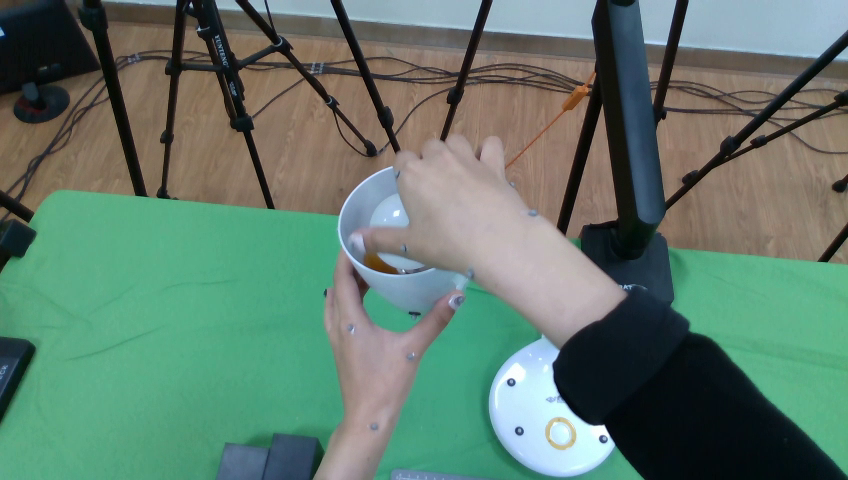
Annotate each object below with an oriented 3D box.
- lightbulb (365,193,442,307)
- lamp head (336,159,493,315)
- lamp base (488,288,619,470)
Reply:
[{"bbox_3d":[-0.014,0.013,0.478,0.059,0.108,0.059,-3,40,3],"label":"lightbulb"},{"bbox_3d":[-0.001,0.009,0.512,0.112,0.124,0.111,-8,55,12],"label":"lamp head"},{"bbox_3d":[0.157,0.147,0.686,0.161,0.182,0.177,-6,55,-5],"label":"lamp base"}]
